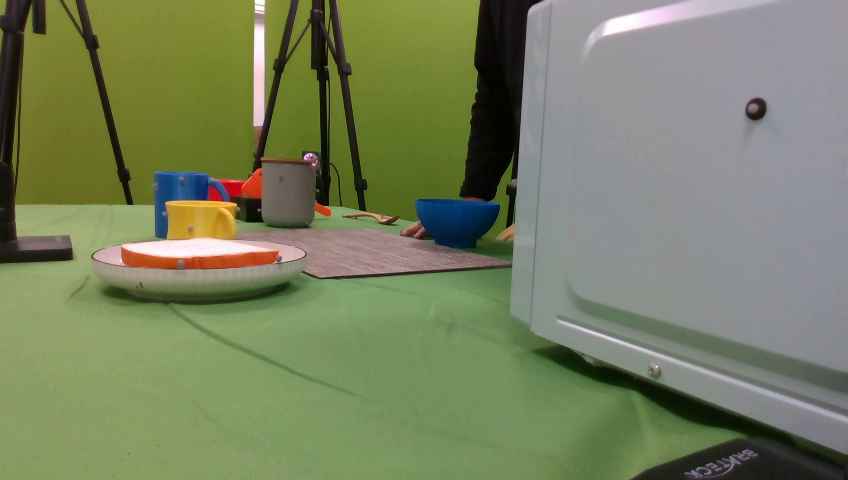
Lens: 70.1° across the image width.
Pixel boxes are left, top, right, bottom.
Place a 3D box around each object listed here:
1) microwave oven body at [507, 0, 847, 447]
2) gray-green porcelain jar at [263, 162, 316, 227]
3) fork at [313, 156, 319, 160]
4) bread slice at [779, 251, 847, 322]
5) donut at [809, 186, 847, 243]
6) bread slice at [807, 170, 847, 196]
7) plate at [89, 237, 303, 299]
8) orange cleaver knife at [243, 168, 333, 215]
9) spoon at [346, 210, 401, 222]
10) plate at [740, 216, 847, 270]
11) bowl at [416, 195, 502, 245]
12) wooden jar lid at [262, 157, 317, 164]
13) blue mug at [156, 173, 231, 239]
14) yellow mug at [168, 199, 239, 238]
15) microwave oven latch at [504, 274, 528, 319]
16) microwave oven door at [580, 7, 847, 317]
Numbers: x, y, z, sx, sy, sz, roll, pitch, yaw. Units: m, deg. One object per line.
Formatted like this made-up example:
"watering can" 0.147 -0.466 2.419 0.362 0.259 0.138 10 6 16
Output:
"microwave oven body" 0.331 -0.042 0.425 0.444 0.260 0.324 -2 8 -31
"gray-green porcelain jar" -0.271 -0.092 1.217 0.106 0.126 0.106 2 7 0
"fork" -0.330 -0.143 1.506 0.207 0.018 0.028 -42 -19 22
"bread slice" 0.370 0.026 0.479 0.132 0.019 0.104 -25 10 -7
"donut" 0.351 -0.023 0.463 0.099 0.048 0.099 -10 5 1
"bread slice" 0.366 -0.051 0.453 0.135 0.018 0.106 -9 1 -23
"plate" -0.233 0.029 0.636 0.208 0.039 0.207 2 7 0
"orange cleaver knife" -0.300 -0.089 1.351 0.212 0.077 0.012 28 -9 -34
"spoon" -0.120 -0.059 1.400 0.042 0.021 0.192 -27 24 -38
"plate" 0.358 0.001 0.464 0.209 0.038 0.209 1 4 0
"bowl" 0.059 -0.035 1.049 0.151 0.077 0.151 2 7 0
"wooden jar lid" -0.269 -0.154 1.208 0.108 0.020 0.108 3 4 0
"blue mug" -0.381 -0.057 1.004 0.117 0.106 0.082 1 8 -12
"yellow mug" -0.319 -0.023 0.904 0.130 0.064 0.100 9 11 36
"microwave oven latch" 0.100 0.042 0.468 0.079 0.029 0.030 -1 7 -22
"microwave oven door" 0.294 -0.067 0.570 0.358 0.243 0.039 -3 9 -31
